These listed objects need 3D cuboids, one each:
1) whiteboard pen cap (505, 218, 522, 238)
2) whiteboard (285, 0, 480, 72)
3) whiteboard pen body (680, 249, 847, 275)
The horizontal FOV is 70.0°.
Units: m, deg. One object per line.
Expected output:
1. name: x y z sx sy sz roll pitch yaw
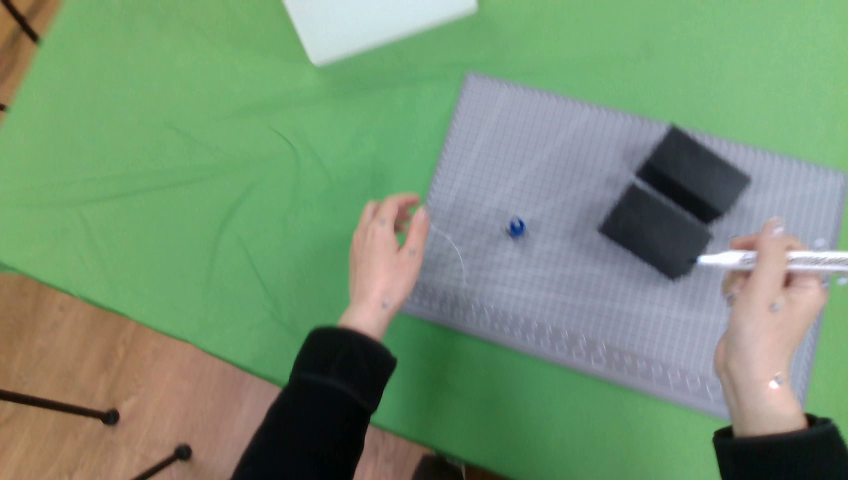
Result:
1. whiteboard pen cap: 0.100 -0.013 0.680 0.018 0.033 0.018 0 80 3
2. whiteboard: -0.075 -0.376 0.662 0.217 0.308 0.142 -18 57 0
3. whiteboard pen body: 0.256 0.015 0.427 0.140 0.017 0.017 1 76 29
